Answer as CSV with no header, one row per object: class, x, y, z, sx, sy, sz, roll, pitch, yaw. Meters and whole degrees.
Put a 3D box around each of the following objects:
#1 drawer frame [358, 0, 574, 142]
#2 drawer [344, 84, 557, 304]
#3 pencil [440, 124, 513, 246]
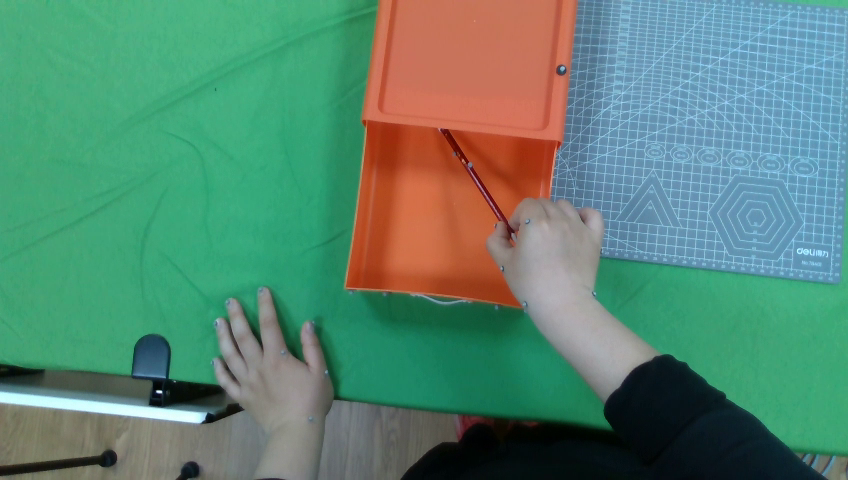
drawer frame,0.048,-0.209,0.630,0.201,0.083,0.213,6,85,4
drawer,0.030,-0.046,0.621,0.194,0.073,0.211,6,87,5
pencil,0.046,-0.072,0.614,0.012,0.012,0.192,-27,65,1
